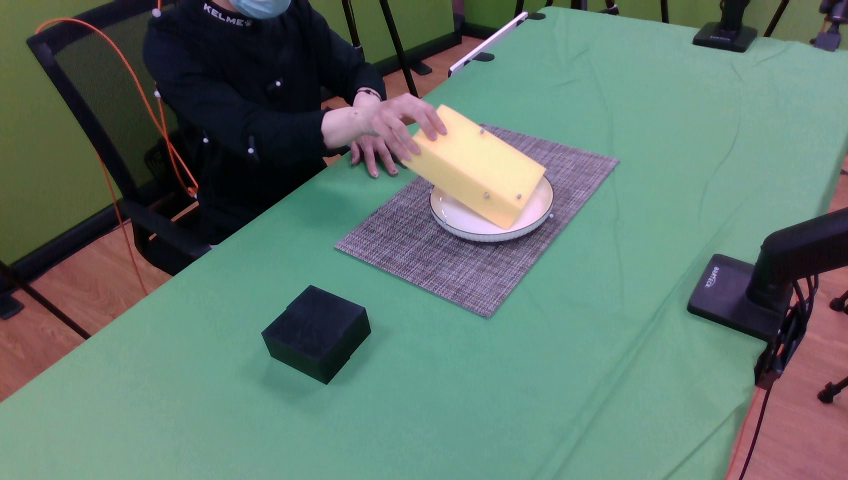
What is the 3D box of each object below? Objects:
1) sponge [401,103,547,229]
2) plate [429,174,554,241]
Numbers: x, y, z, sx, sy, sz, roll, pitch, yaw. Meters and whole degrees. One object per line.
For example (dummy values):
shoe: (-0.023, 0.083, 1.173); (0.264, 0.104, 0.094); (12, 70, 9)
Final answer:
sponge: (0.083, -0.122, 0.987); (0.207, 0.061, 0.118); (32, 51, 2)
plate: (0.112, -0.065, 1.011); (0.207, 0.039, 0.206); (-4, 41, 4)
